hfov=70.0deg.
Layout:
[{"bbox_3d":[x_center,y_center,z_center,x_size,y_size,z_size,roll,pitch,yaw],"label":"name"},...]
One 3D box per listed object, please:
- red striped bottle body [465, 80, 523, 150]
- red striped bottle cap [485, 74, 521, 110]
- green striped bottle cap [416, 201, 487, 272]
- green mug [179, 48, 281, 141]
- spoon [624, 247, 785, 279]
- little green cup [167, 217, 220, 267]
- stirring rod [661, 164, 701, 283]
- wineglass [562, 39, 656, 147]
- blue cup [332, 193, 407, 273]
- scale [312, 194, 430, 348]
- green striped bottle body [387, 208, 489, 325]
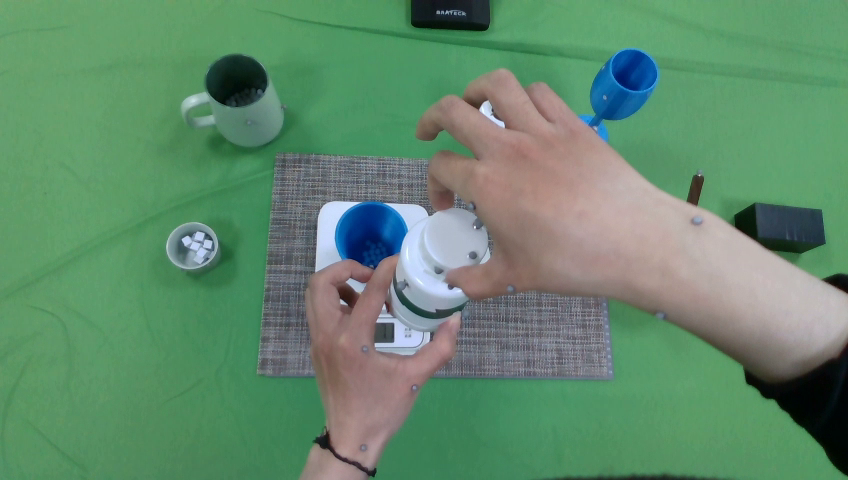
[{"bbox_3d":[0.095,-0.174,0.820,0.063,0.120,0.062,2,74,-5],"label":"red striped bottle body"},{"bbox_3d":[0.100,-0.188,0.768,0.044,0.018,0.044,2,71,-5],"label":"red striped bottle cap"},{"bbox_3d":[0.018,-0.003,0.391,0.044,0.020,0.044,5,64,-10],"label":"green striped bottle cap"},{"bbox_3d":[-0.255,-0.183,0.794,0.125,0.105,0.092,-20,77,-10],"label":"green mug"},{"bbox_3d":[0.351,0.034,0.773,0.022,0.192,0.041,25,76,-44],"label":"spoon"},{"bbox_3d":[-0.291,0.005,0.772,0.062,0.039,0.061,2,74,-7],"label":"little green cup"},{"bbox_3d":[0.332,-0.016,0.786,0.014,0.177,0.006,6,33,10],"label":"stirring rod"},{"bbox_3d":[0.242,-0.191,0.812,0.074,0.173,0.073,1,74,-5],"label":"wineglass"},{"bbox_3d":[-0.067,0.000,0.728,0.093,0.100,0.092,2,76,-7],"label":"blue cup"},{"bbox_3d":[-0.068,0.038,0.786,0.149,0.031,0.200,1,75,-5],"label":"scale"},{"bbox_3d":[0.009,0.018,0.444,0.063,0.120,0.062,4,68,-8],"label":"green striped bottle body"}]
